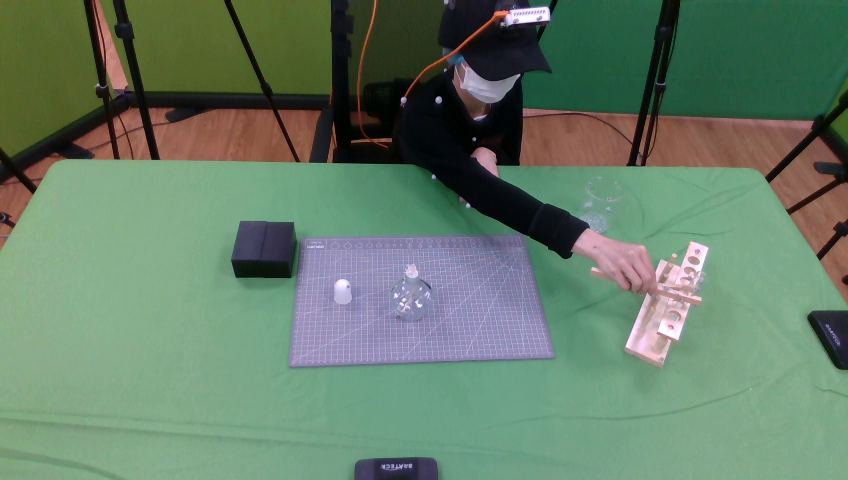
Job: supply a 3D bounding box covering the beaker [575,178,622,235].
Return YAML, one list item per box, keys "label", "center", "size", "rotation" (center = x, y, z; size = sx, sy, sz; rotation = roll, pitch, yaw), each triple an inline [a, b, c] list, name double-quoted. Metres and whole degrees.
- label: "beaker"
  center: [0.356, -0.068, 1.240]
  size: [0.084, 0.101, 0.073]
  rotation: [-18, 50, -21]

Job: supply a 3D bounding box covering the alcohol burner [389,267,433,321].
- label: "alcohol burner"
  center: [-0.022, 0.086, 1.047]
  size: [0.078, 0.119, 0.077]
  rotation: [2, 48, -2]

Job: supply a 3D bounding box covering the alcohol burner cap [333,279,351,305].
- label: "alcohol burner cap"
  center: [-0.147, 0.090, 1.083]
  size: [0.034, 0.048, 0.033]
  rotation: [2, 46, -2]

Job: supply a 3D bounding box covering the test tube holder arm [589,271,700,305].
- label: "test tube holder arm"
  center: [0.366, 0.079, 1.009]
  size: [0.178, 0.015, 0.013]
  rotation: [13, 37, 8]

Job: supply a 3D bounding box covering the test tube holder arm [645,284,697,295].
- label: "test tube holder arm"
  center: [0.410, 0.082, 1.011]
  size: [0.088, 0.015, 0.010]
  rotation: [3, 38, -6]

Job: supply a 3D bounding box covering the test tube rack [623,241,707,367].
- label: "test tube rack"
  center: [0.435, 0.104, 1.089]
  size: [0.066, 0.085, 0.242]
  rotation: [24, 49, 19]

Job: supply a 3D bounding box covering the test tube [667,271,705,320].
- label: "test tube"
  center: [0.434, 0.104, 1.020]
  size: [0.017, 0.151, 0.017]
  rotation: [4, 47, -4]
